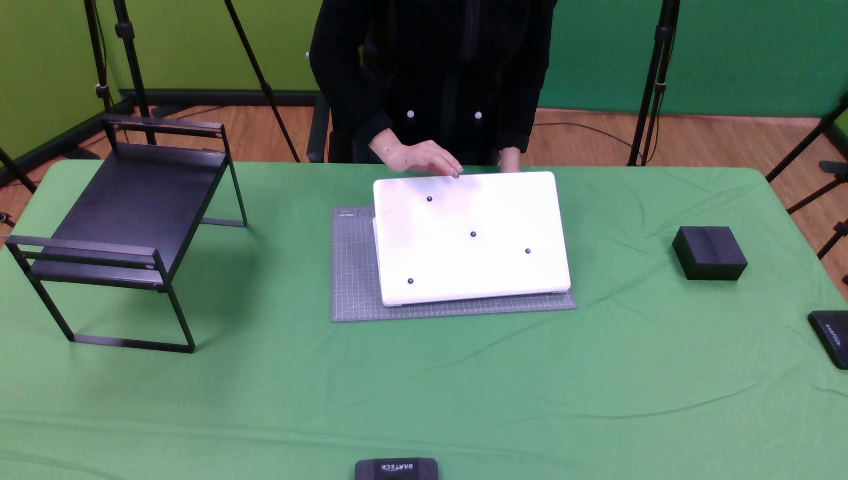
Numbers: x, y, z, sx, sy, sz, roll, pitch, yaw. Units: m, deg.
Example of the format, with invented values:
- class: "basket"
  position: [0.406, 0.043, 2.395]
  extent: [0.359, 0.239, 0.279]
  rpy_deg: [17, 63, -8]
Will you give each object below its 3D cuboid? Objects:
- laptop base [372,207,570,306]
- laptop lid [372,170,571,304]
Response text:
- class: "laptop base"
  position: [0.083, 0.027, 1.178]
  extent: [0.355, 0.023, 0.234]
  rpy_deg: [-4, 42, -8]
- class: "laptop lid"
  position: [0.089, -0.011, 1.112]
  extent: [0.357, 0.013, 0.241]
  rpy_deg: [-2, 79, -8]
